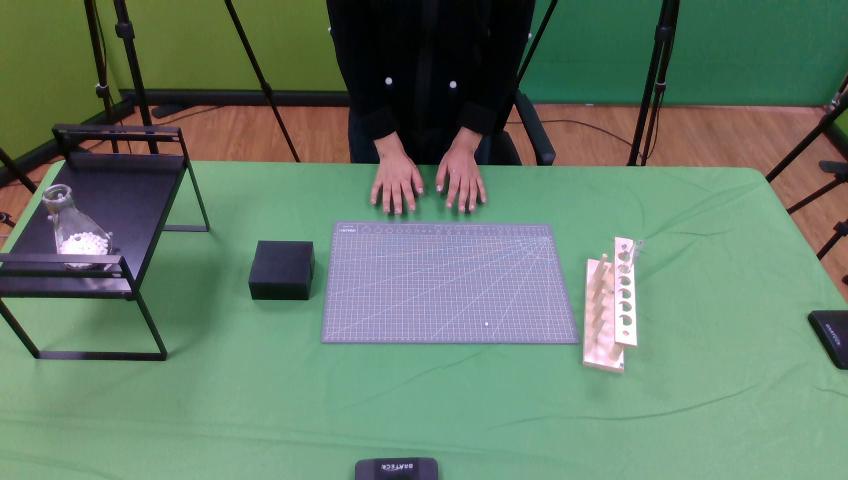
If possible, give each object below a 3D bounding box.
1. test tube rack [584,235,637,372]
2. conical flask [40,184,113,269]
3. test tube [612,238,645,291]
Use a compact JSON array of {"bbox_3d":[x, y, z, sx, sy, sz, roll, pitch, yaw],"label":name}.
[{"bbox_3d":[0.329,0.103,1.073,0.067,0.085,0.241,11,47,7],"label":"test tube rack"},{"bbox_3d":[-0.501,-0.022,0.861,0.075,0.122,0.075,1,46,-1],"label":"conical flask"},{"bbox_3d":[0.355,0.046,1.061,0.017,0.151,0.017,1,54,-1],"label":"test tube"}]
